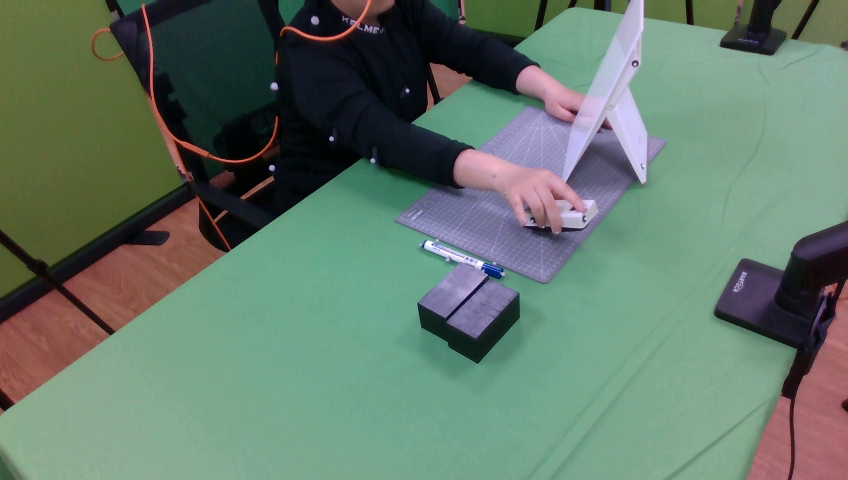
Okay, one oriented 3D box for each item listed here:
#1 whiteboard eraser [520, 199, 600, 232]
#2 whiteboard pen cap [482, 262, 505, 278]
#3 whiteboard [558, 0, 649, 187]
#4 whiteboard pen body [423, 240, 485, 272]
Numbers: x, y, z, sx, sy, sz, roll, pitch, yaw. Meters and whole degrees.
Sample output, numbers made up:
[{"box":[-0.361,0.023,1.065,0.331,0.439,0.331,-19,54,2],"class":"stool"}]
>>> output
[{"box":[0.210,-0.037,0.937,0.112,0.042,0.056,3,30,43],"class":"whiteboard eraser"},{"box":[0.104,0.044,0.912,0.033,0.018,0.018,21,48,29],"class":"whiteboard pen cap"},{"box":[0.361,-0.238,1.026,0.144,0.306,0.217,21,44,3],"class":"whiteboard"},{"box":[0.057,0.028,0.942,0.139,0.017,0.017,22,48,30],"class":"whiteboard pen body"}]
